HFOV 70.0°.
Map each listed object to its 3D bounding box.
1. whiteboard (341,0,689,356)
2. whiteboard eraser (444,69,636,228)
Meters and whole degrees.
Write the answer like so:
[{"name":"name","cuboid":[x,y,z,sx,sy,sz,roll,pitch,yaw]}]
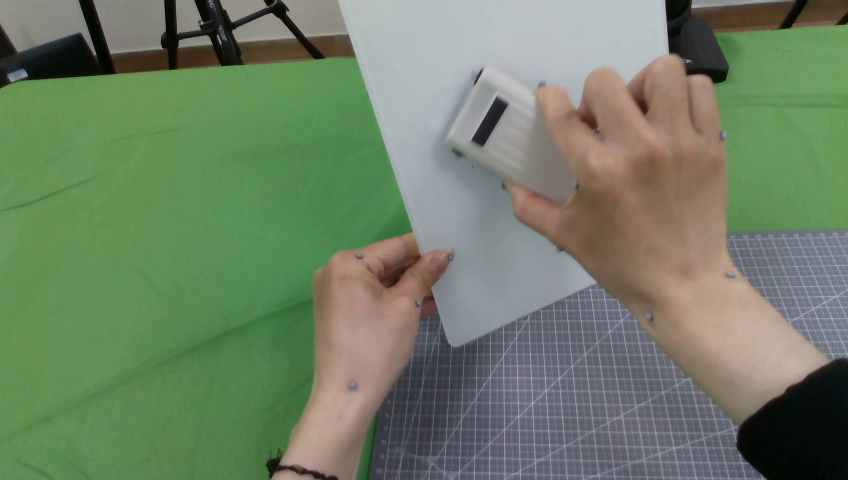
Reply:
[{"name":"whiteboard","cuboid":[0.060,-0.107,0.470,0.217,0.308,0.142,-23,28,-10]},{"name":"whiteboard eraser","cuboid":[0.073,-0.058,0.386,0.113,0.056,0.041,28,25,-5]}]
